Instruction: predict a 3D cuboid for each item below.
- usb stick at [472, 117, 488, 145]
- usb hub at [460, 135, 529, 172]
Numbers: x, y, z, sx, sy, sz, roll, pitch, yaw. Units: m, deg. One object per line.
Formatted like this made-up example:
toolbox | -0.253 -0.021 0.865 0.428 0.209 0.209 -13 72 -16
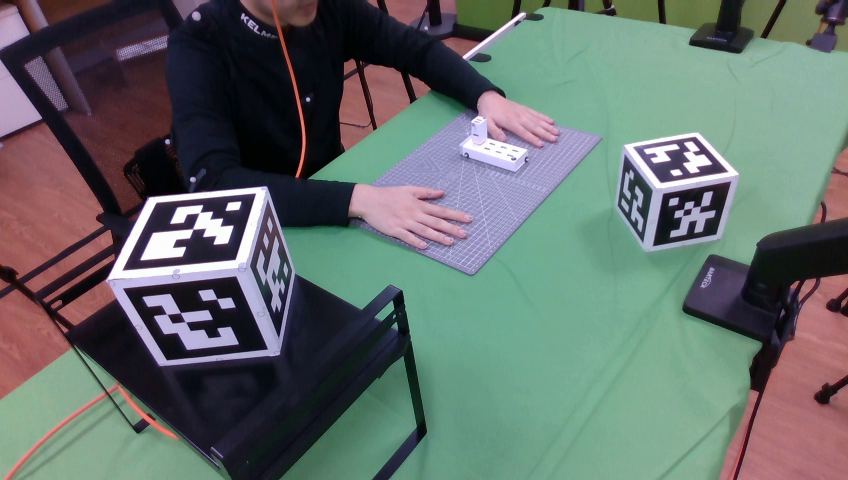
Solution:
usb stick | 0.105 -0.199 1.137 0.021 0.059 0.027 23 50 30
usb hub | 0.132 -0.165 1.138 0.124 0.025 0.049 22 50 30
